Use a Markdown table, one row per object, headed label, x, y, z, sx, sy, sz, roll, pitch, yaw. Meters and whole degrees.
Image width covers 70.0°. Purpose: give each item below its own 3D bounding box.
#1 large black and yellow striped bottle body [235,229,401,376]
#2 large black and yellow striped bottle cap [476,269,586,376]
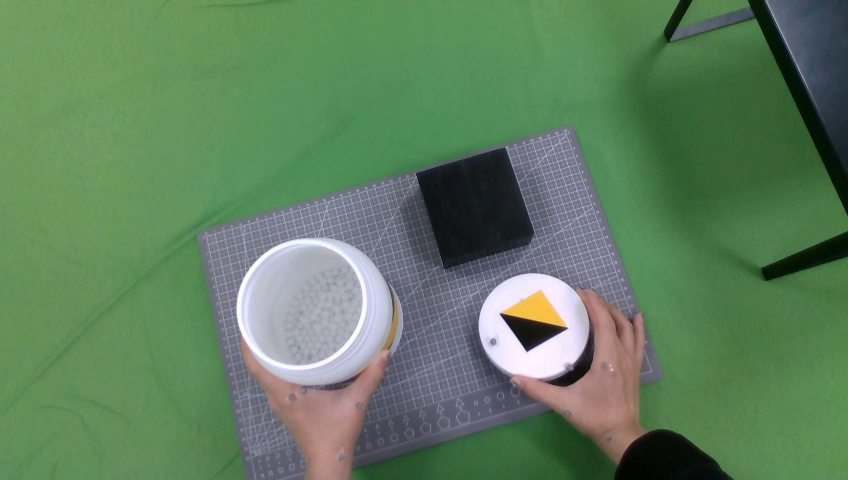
| label | x | y | z | sx | sy | sz | roll | pitch | yaw |
| --- | --- | --- | --- | --- | --- | --- | --- | --- | --- |
| large black and yellow striped bottle body | -0.095 | 0.064 | 0.577 | 0.131 | 0.185 | 0.130 | -1 | 78 | 3 |
| large black and yellow striped bottle cap | 0.111 | 0.084 | 0.635 | 0.115 | 0.019 | 0.114 | -4 | 64 | 9 |
